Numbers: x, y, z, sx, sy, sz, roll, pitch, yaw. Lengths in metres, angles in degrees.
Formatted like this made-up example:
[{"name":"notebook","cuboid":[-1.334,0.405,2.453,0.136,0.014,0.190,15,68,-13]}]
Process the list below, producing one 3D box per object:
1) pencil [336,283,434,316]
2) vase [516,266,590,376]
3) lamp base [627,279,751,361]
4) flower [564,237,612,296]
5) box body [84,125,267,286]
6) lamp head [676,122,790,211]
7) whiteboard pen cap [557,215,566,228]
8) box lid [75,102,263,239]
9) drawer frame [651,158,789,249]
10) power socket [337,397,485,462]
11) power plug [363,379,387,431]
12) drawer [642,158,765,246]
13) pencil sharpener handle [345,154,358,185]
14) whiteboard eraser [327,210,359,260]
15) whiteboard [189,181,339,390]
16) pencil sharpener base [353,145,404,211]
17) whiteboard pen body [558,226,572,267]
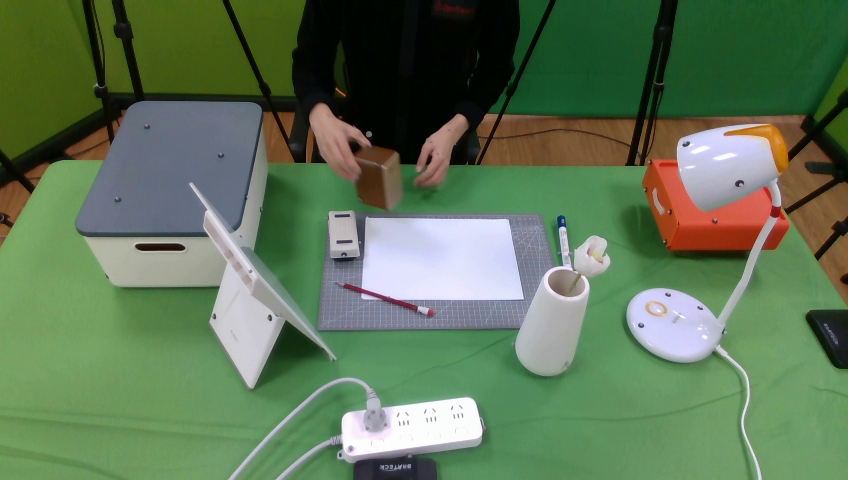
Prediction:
[{"name":"pencil","cuboid":[-0.074,0.105,1.097,0.194,0.012,0.012,16,47,13]},{"name":"vase","cuboid":[0.208,0.132,0.964,0.098,0.201,0.097,3,46,-3]},{"name":"lamp base","cuboid":[0.460,0.100,1.027,0.178,0.181,0.160,27,51,17]},{"name":"flower","cuboid":[0.206,0.088,0.893,0.038,0.363,0.044,-16,67,-9]},{"name":"box body","cuboid":[-0.446,-0.088,1.150,0.254,0.161,0.361,-1,46,-5]},{"name":"lamp head","cuboid":[0.423,-0.104,0.819,0.122,0.113,0.112,-13,33,40]},{"name":"whiteboard pen cap","cuboid":[0.284,-0.035,1.246,0.018,0.018,0.033,4,52,-1]},{"name":"box lid","cuboid":[-0.443,-0.138,1.094,0.263,0.015,0.369,-1,47,-5]},{"name":"drawer frame","cuboid":[0.571,-0.075,1.214,0.214,0.083,0.200,0,46,-1]},{"name":"power socket","cuboid":[-0.018,0.285,0.915,0.227,0.033,0.071,-5,46,-8]},{"name":"power plug","cuboid":[-0.072,0.252,0.910,0.035,0.053,0.072,3,45,-1]},{"name":"drawer","cuboid":[0.565,-0.076,1.211,0.212,0.073,0.193,2,45,-2]},{"name":"pencil sharpener handle","cuboid":[-0.136,-0.138,1.161,0.030,0.068,0.036,16,31,21]},{"name":"whiteboard eraser","cuboid":[-0.158,-0.009,1.177,0.055,0.042,0.112,-6,47,-7]},{"name":"whiteboard","cuboid":[-0.292,0.096,0.929,0.144,0.307,0.216,-37,57,-10]},{"name":"pencil sharpener base","cuboid":[-0.087,-0.118,1.154,0.076,0.107,0.061,16,46,21]},{"name":"whiteboard pen body","cuboid":[0.280,0.010,1.208,0.017,0.017,0.140,3,50,-1]}]
